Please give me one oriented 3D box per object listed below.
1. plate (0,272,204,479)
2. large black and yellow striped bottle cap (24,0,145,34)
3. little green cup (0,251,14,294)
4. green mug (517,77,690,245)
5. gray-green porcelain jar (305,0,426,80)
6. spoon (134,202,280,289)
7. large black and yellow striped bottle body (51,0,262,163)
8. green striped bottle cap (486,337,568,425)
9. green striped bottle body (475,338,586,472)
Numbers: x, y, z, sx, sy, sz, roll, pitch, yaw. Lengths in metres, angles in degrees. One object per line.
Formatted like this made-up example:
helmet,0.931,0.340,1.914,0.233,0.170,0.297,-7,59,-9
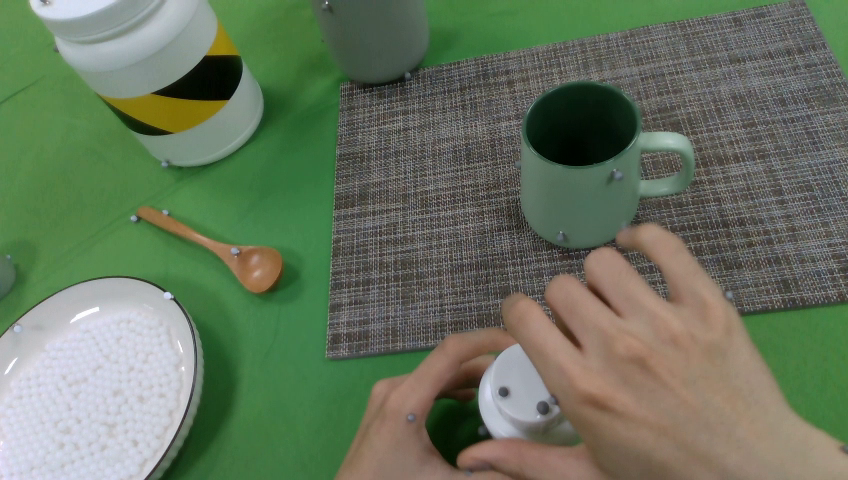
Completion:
plate,-0.268,0.124,0.482,0.209,0.038,0.207,-5,59,10
large black and yellow striped bottle cap,-0.266,-0.213,0.490,0.115,0.019,0.114,-5,59,9
little green cup,-0.425,0.030,0.571,0.061,0.039,0.061,-5,60,9
green mug,0.131,-0.056,0.451,0.125,0.106,0.092,0,60,13
gray-green porcelain jar,-0.057,-0.229,0.582,0.106,0.128,0.105,-6,56,9
spoon,-0.201,-0.004,0.548,0.192,0.022,0.041,23,87,23
large black and yellow striped bottle body,-0.247,-0.173,0.561,0.130,0.186,0.129,-5,60,10
green striped bottle cap,0.055,0.075,0.324,0.044,0.020,0.044,-4,60,8
green striped bottle body,0.067,0.101,0.371,0.063,0.120,0.062,-6,60,11
